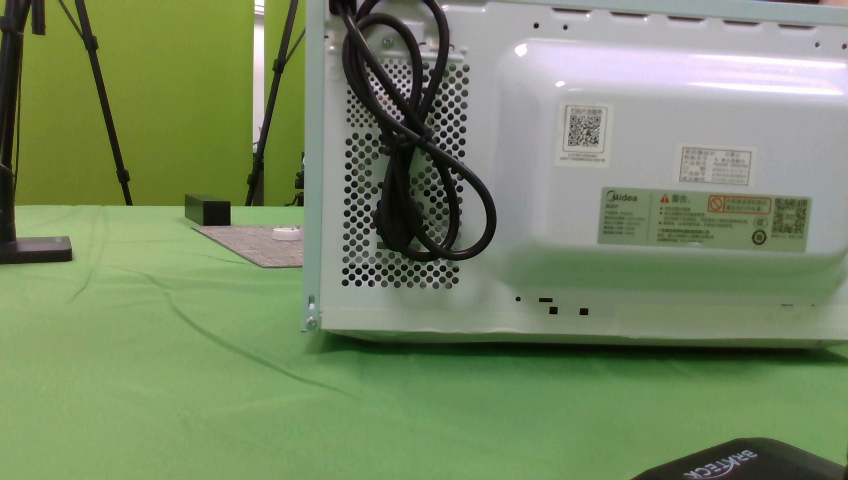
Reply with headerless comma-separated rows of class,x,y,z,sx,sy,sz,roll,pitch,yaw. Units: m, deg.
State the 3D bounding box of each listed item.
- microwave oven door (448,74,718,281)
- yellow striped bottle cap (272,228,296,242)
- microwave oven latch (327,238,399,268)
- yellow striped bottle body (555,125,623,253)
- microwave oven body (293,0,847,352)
microwave oven door,0.190,-0.090,0.812,0.354,0.243,0.039,8,10,36
yellow striped bottle cap,-0.232,-0.008,1.012,0.044,0.018,0.044,4,8,0
microwave oven latch,-0.069,0.015,0.694,0.079,0.029,0.030,3,7,-3
yellow striped bottle body,0.159,-0.049,0.583,0.063,0.120,0.063,0,4,0
microwave oven body,0.122,-0.055,0.550,0.442,0.260,0.325,3,7,-5
